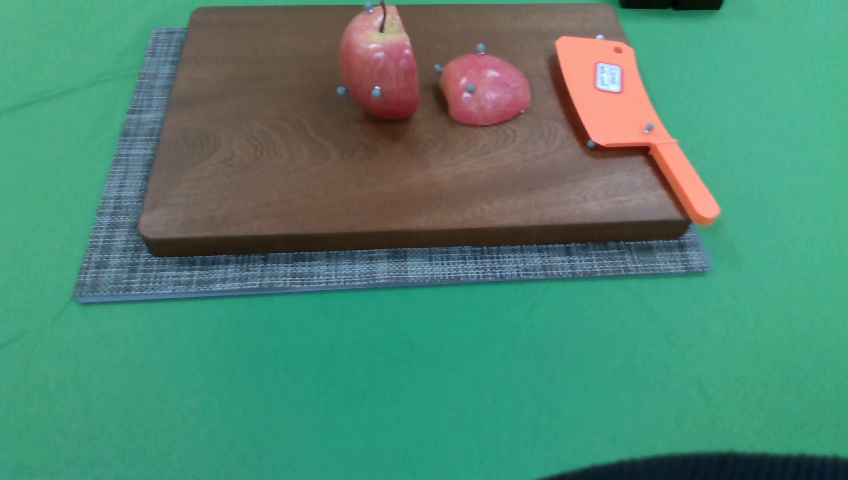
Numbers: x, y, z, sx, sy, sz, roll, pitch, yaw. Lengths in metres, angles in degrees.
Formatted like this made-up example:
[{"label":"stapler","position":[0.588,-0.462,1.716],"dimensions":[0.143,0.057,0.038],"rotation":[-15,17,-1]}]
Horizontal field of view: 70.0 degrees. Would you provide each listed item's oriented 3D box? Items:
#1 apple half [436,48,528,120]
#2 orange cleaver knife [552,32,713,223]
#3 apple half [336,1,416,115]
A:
[{"label":"apple half","position":[0.048,-0.137,0.498],"dimensions":[0.081,0.033,0.080],"rotation":[0,56,0]},{"label":"orange cleaver knife","position":[0.160,-0.099,0.486],"dimensions":[0.077,0.012,0.209],"rotation":[-7,58,-11]},{"label":"apple half","position":[-0.040,-0.137,0.469],"dimensions":[0.053,0.075,0.080],"rotation":[-14,61,-7]}]
